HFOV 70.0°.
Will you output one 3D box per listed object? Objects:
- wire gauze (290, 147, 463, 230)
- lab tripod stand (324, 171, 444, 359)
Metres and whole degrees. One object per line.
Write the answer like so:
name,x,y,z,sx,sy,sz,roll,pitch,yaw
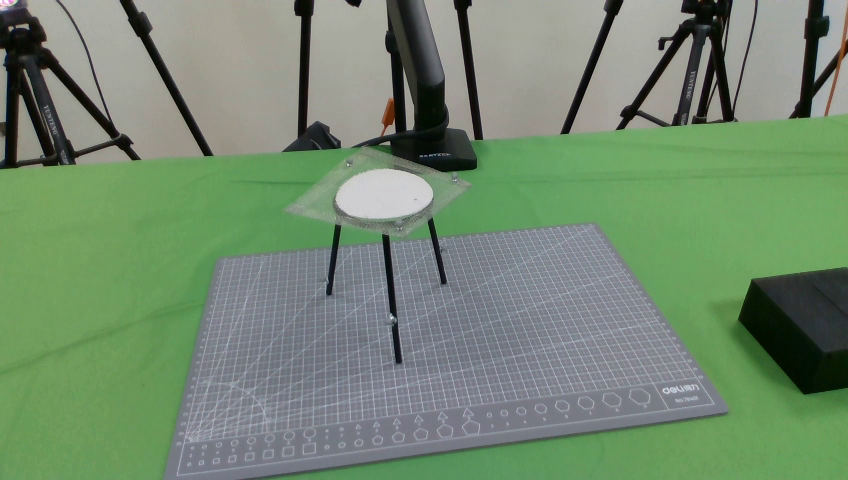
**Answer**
wire gauze,-0.034,-0.051,0.518,0.125,0.011,0.120,12,31,4
lab tripod stand,-0.035,0.015,0.568,0.148,0.132,0.147,1,35,0
